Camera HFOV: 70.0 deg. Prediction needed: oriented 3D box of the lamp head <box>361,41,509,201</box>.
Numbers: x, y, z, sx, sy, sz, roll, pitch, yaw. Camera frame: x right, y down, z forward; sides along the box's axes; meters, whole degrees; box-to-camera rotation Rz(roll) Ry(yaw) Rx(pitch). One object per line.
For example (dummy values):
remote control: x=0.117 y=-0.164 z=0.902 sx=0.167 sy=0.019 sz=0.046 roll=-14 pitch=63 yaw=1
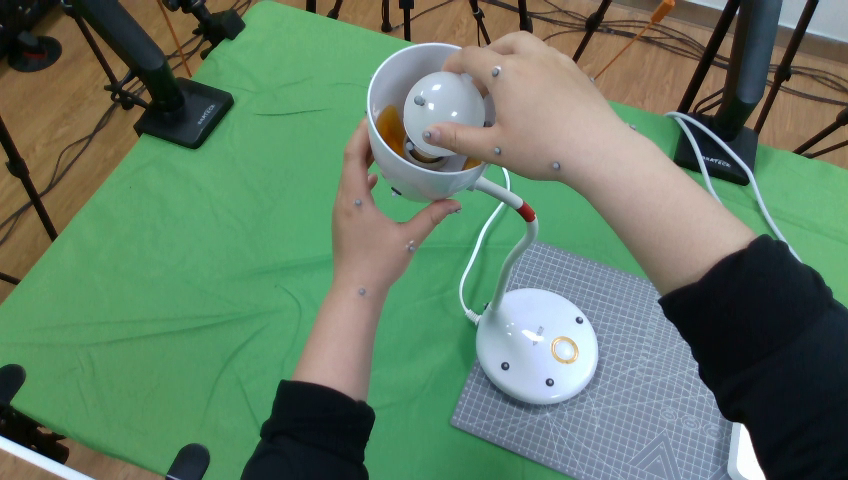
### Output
lamp head: x=0.005 y=-0.081 z=0.498 sx=0.112 sy=0.123 sz=0.111 roll=2 pitch=68 yaw=-4

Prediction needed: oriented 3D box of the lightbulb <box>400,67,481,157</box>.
lightbulb: x=0.007 y=-0.091 z=0.467 sx=0.060 sy=0.108 sz=0.059 roll=3 pitch=77 yaw=-11

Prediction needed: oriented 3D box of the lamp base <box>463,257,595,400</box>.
lamp base: x=0.132 y=0.089 z=0.731 sx=0.179 sy=0.182 sz=0.159 roll=14 pitch=60 yaw=10

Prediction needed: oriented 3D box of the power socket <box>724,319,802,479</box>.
power socket: x=0.426 y=0.200 z=0.757 sx=0.072 sy=0.033 sz=0.225 roll=19 pitch=60 yaw=9
